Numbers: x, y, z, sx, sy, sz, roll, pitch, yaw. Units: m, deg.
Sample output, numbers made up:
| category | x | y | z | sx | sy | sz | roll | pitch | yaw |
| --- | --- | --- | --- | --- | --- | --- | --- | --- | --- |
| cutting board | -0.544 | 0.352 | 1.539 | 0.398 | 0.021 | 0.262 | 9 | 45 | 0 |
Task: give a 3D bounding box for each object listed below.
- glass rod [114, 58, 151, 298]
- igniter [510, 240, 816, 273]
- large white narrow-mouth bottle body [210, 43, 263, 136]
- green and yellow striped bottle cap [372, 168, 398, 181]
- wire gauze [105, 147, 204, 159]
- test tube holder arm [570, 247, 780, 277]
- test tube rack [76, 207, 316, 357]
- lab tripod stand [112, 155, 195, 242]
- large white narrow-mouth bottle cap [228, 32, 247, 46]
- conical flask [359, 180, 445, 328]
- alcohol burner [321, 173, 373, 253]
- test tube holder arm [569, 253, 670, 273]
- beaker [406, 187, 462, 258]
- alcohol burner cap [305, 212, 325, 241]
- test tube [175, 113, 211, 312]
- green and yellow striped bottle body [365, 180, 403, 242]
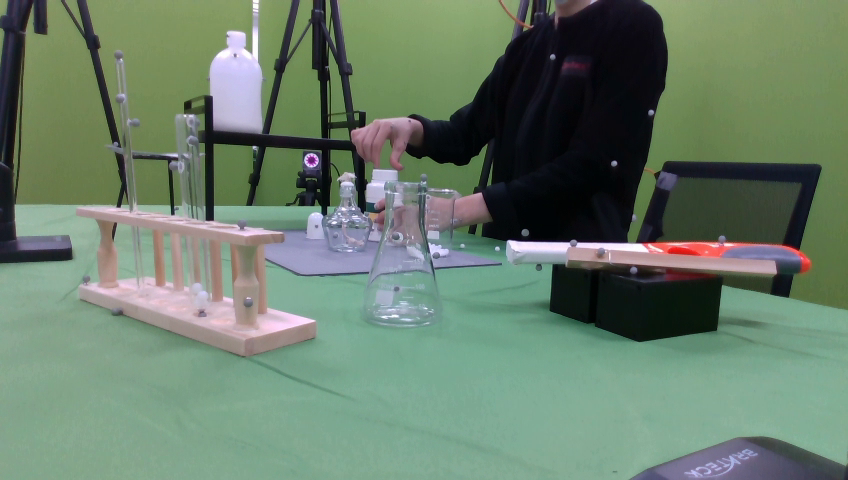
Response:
| category | x | y | z | sx | sy | sz | roll | pitch | yaw |
| --- | --- | --- | --- | --- | --- | --- | --- | --- | --- |
| glass rod | -0.236 | -0.044 | 0.492 | 0.008 | 0.199 | 0.008 | 0 | 15 | 0 |
| igniter | 0.220 | 0.015 | 0.565 | 0.277 | 0.025 | 0.057 | 2 | 16 | 0 |
| large white narrow-mouth bottle body | -0.369 | -0.305 | 1.194 | 0.102 | 0.194 | 0.102 | 3 | 8 | 0 |
| green and yellow striped bottle cap | -0.067 | -0.111 | 1.029 | 0.045 | 0.020 | 0.045 | 4 | 9 | 0 |
| wire gauze | -0.407 | -0.131 | 0.928 | 0.125 | 0.011 | 0.121 | 2 | 6 | -11 |
| test tube holder arm | 0.217 | 0.019 | 0.525 | 0.178 | 0.015 | 0.013 | 3 | -23 | 3 |
| test tube rack | -0.196 | 0.023 | 0.499 | 0.241 | 0.085 | 0.067 | 8 | 9 | 36 |
| lab tripod stand | -0.405 | -0.064 | 0.931 | 0.148 | 0.131 | 0.148 | 1 | 6 | 0 |
| large white narrow-mouth bottle cap | -0.364 | -0.391 | 1.180 | 0.038 | 0.024 | 0.037 | 3 | 8 | 0 |
| conical flask | -0.017 | 0.010 | 0.522 | 0.075 | 0.122 | 0.075 | 2 | 7 | 0 |
| alcohol burner | -0.115 | -0.041 | 0.905 | 0.078 | 0.119 | 0.078 | 1 | 6 | 0 |
| test tube holder arm | 0.172 | 0.019 | 0.532 | 0.088 | 0.015 | 0.010 | 3 | -23 | 3 |
| beaker | 0.013 | -0.026 | 0.892 | 0.084 | 0.100 | 0.074 | 3 | 8 | -2 |
| alcohol burner cap | -0.185 | -0.023 | 1.027 | 0.034 | 0.048 | 0.034 | 2 | 6 | 0 |
| test tube | -0.175 | -0.020 | 0.458 | 0.017 | 0.150 | 0.017 | -3 | 5 | 1 |
| green and yellow striped bottle body | -0.068 | -0.058 | 1.036 | 0.063 | 0.119 | 0.063 | 2 | 7 | 0 |
